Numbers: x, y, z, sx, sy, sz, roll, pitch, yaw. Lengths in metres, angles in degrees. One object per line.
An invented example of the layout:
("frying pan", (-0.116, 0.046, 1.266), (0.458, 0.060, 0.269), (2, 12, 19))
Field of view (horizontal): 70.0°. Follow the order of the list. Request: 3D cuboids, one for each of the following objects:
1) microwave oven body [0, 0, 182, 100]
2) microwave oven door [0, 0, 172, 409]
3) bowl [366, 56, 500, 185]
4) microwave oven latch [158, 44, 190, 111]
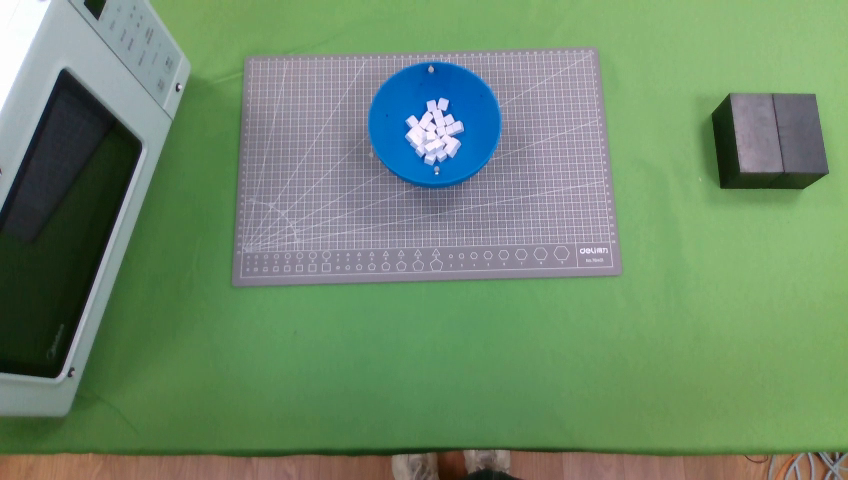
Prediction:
("microwave oven body", (-0.493, -0.088, 0.602), (0.326, 0.261, 0.439), (12, 76, 3))
("microwave oven door", (-0.360, -0.020, 0.578), (0.039, 0.245, 0.354), (12, 75, 4))
("bowl", (0.010, -0.126, 0.704), (0.151, 0.077, 0.150), (0, 75, 1))
("microwave oven latch", (-0.309, -0.198, 0.731), (0.030, 0.029, 0.079), (13, 76, 4))
